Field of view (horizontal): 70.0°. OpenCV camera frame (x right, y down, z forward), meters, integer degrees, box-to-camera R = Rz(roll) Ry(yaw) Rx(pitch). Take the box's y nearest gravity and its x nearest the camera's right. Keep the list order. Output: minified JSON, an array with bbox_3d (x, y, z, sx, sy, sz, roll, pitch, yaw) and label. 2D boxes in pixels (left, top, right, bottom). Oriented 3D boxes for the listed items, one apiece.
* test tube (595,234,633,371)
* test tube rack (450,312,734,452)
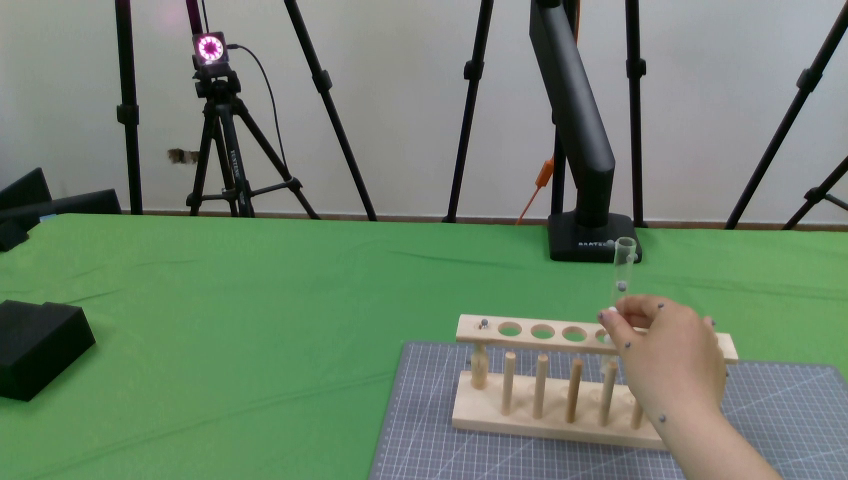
[{"bbox_3d":[0.165,0.060,0.529,0.017,0.151,0.017,-3,35,2],"label":"test tube"},{"bbox_3d":[0.147,0.128,0.556,0.242,0.086,0.066,3,31,9],"label":"test tube rack"}]
